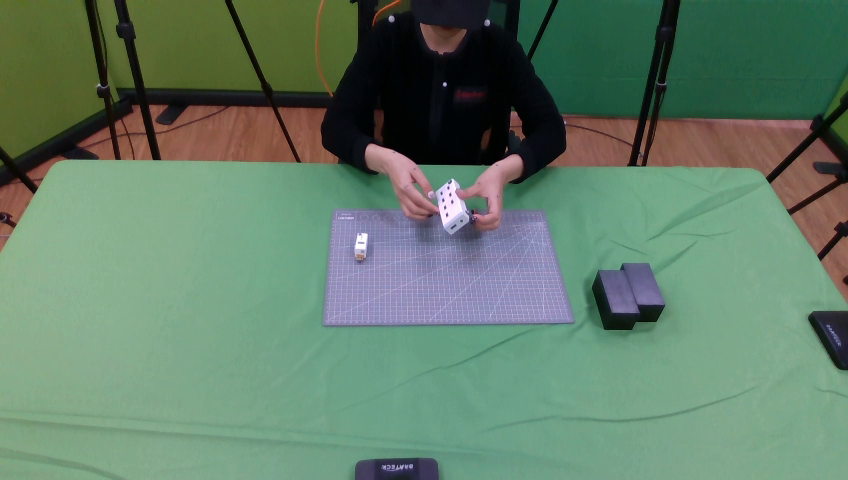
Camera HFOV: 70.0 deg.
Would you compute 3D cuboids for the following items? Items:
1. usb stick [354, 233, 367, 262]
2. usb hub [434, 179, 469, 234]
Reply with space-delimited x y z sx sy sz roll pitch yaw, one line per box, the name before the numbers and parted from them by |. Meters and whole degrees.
usb stick | -0.123 0.015 1.168 0.021 0.027 0.059 5 49 -2
usb hub | 0.053 -0.067 1.170 0.049 0.025 0.124 -36 35 19
